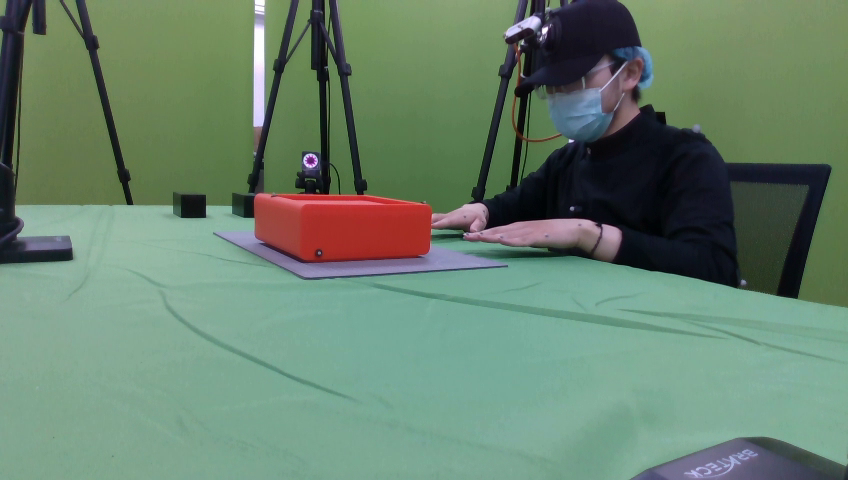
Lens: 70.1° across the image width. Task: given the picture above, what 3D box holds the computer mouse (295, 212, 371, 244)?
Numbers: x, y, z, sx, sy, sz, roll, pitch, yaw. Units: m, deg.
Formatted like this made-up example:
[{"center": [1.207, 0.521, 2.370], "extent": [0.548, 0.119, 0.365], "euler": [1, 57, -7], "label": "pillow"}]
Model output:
[{"center": [-0.143, -0.019, 0.948], "extent": [0.117, 0.041, 0.062], "euler": [-6, 16, -2], "label": "computer mouse"}]

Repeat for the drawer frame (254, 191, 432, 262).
[{"center": [-0.128, -0.027, 0.911], "extent": [0.203, 0.082, 0.212], "euler": [-1, 9, -32], "label": "drawer frame"}]

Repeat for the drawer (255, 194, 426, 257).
[{"center": [-0.130, -0.026, 0.912], "extent": [0.195, 0.073, 0.210], "euler": [-1, 9, -31], "label": "drawer"}]
